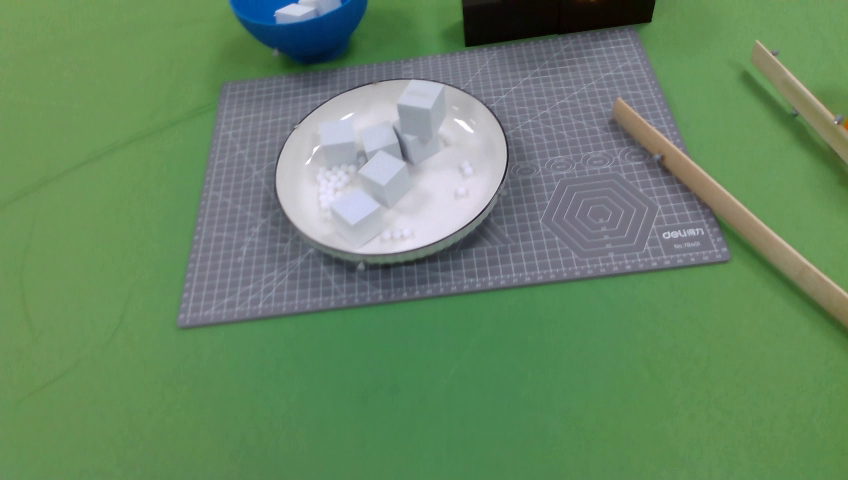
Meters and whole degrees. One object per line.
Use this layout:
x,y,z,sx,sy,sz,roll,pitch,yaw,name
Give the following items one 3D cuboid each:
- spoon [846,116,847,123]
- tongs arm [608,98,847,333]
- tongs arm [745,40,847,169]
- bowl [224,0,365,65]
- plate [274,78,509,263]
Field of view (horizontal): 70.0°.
0.421,-0.108,0.450,0.041,0.193,0.022,-42,104,-22,spoon
0.276,0.005,0.465,0.028,0.028,0.383,-28,58,-16,tongs arm
0.350,-0.027,0.474,0.051,0.027,0.380,-19,57,-6,tongs arm
-0.131,-0.247,0.663,0.151,0.077,0.150,-4,55,6,bowl
-0.028,-0.063,0.544,0.207,0.039,0.205,-4,55,6,plate
